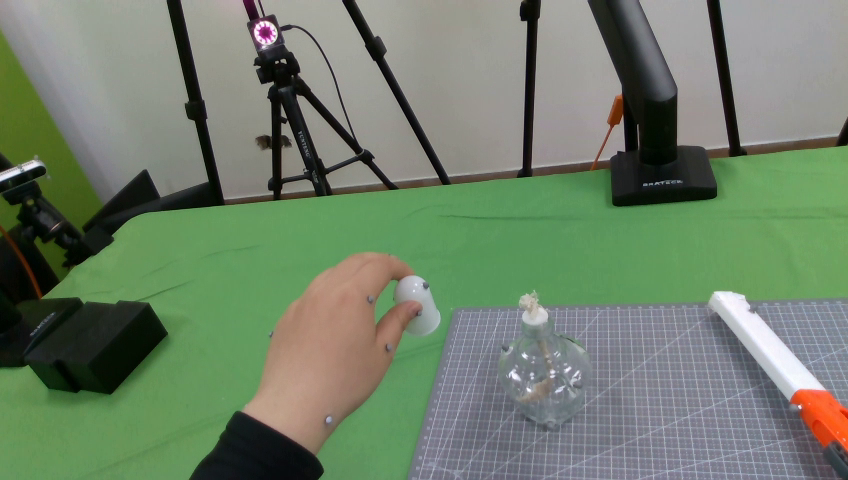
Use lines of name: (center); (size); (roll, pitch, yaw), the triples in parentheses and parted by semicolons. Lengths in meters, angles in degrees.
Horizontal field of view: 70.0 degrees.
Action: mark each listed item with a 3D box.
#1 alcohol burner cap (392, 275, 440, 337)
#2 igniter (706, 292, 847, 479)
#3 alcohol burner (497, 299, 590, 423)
alcohol burner cap: (-0.008, 0.047, 0.457); (0.034, 0.048, 0.033); (-8, 41, 7)
igniter: (0.292, 0.124, 0.446); (0.057, 0.025, 0.274); (5, 29, -10)
alcohol burner: (0.096, 0.093, 0.498); (0.078, 0.120, 0.077); (-9, 35, 7)
